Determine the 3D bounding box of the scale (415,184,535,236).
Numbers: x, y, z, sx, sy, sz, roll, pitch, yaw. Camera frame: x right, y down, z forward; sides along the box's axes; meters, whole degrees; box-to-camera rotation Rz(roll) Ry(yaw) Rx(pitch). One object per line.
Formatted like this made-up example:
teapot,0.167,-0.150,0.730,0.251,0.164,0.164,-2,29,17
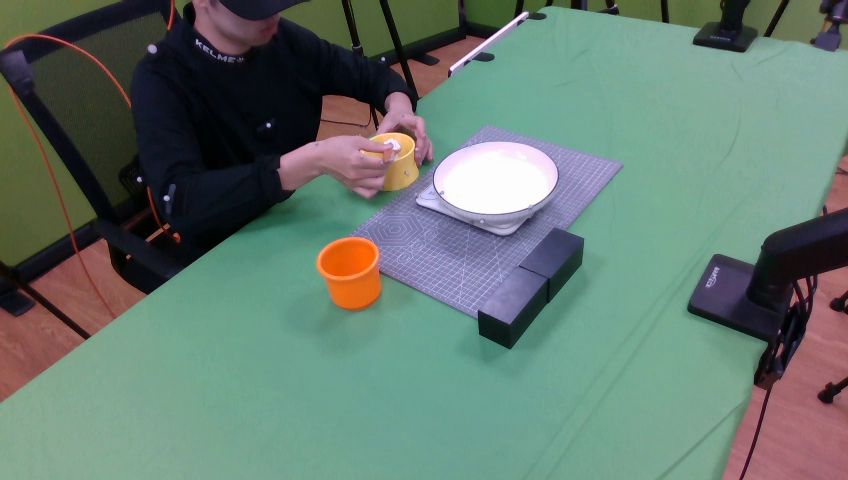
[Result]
scale,0.099,-0.080,1.035,0.199,0.032,0.149,23,48,31

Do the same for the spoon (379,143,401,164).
spoon,-0.062,-0.149,1.027,0.041,0.021,0.193,-6,12,2

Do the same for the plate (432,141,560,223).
plate,0.118,-0.094,0.999,0.209,0.038,0.208,-4,41,4

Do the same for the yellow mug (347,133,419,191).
yellow mug,-0.078,-0.142,1.116,0.131,0.064,0.099,-7,40,3
